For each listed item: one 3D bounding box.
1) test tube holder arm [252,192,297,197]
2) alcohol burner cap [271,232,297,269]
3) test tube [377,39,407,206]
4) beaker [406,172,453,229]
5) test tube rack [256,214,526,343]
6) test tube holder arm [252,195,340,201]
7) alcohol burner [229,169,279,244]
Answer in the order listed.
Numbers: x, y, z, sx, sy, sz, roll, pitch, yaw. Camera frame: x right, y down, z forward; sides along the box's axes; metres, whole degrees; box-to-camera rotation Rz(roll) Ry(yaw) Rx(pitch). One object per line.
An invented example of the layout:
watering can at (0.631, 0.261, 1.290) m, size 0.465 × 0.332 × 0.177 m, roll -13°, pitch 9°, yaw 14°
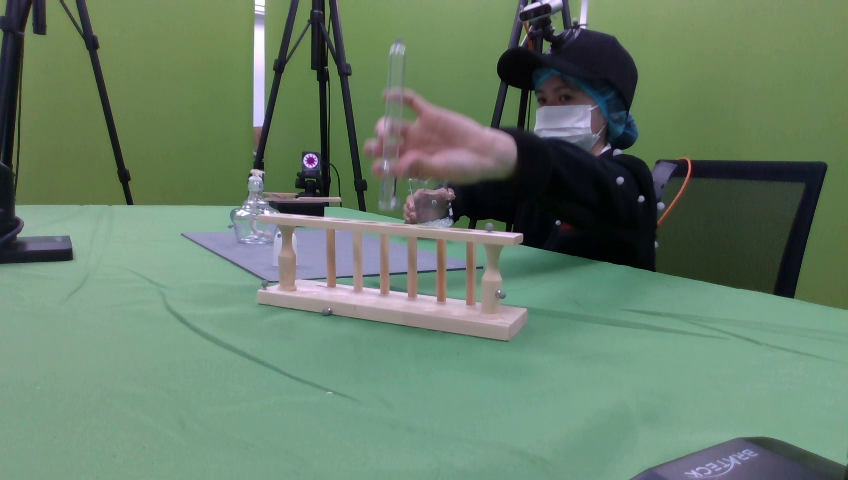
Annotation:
test tube holder arm at (-0.301, -0.092, 1.223) m, size 0.088 × 0.010 × 0.015 m, roll 0°, pitch 7°, yaw -25°
alcohol burner cap at (-0.175, 0.012, 0.760) m, size 0.034 × 0.048 × 0.034 m, roll 2°, pitch 8°, yaw 0°
test tube at (-0.029, -0.106, 0.554) m, size 0.017 × 0.150 × 0.017 m, roll 5°, pitch 5°, yaw 0°
beaker at (0.012, -0.069, 1.107) m, size 0.074 × 0.100 × 0.084 m, roll -10°, pitch 9°, yaw 6°
test tube rack at (-0.032, 0.027, 0.547) m, size 0.241 × 0.085 × 0.067 m, roll 6°, pitch 7°, yaw 22°
test tube holder arm at (-0.260, -0.087, 1.242) m, size 0.179 × 0.013 × 0.015 m, roll -1°, pitch 7°, yaw -25°
alcohol burner at (-0.268, -0.053, 0.958) m, size 0.078 × 0.119 × 0.078 m, roll 2°, pitch 6°, yaw 0°
